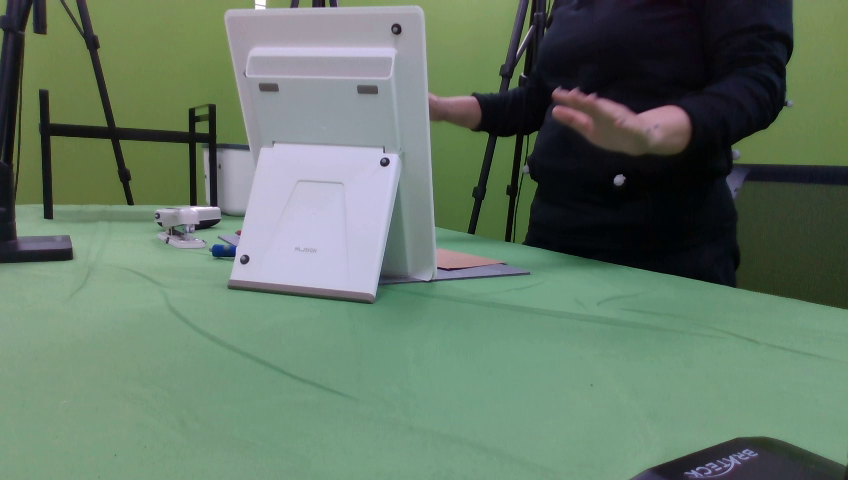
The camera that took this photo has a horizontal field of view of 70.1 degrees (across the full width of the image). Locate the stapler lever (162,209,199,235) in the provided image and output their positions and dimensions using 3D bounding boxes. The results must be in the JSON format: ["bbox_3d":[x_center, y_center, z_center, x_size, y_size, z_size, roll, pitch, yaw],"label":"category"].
[{"bbox_3d":[-0.376,-0.031,0.933,0.027,0.040,0.117,1,7,-38],"label":"stapler lever"}]

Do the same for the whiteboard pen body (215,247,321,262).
[{"bbox_3d":[-0.208,0.018,0.805,0.141,0.017,0.017,2,7,1],"label":"whiteboard pen body"}]

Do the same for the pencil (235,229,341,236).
[{"bbox_3d":[-0.232,-0.012,1.053,0.195,0.012,0.012,0,8,-36],"label":"pencil"}]

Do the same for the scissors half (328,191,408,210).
[{"bbox_3d":[-0.122,-0.092,1.318,0.175,0.040,0.013,5,12,-3],"label":"scissors half"}]

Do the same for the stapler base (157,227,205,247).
[{"bbox_3d":[-0.376,-0.007,0.935,0.041,0.024,0.130,1,5,-38],"label":"stapler base"}]

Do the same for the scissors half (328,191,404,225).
[{"bbox_3d":[-0.127,-0.072,1.321,0.175,0.040,0.013,22,5,-5],"label":"scissors half"}]

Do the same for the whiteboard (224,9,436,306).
[{"bbox_3d":[-0.117,-0.065,0.617,0.217,0.305,0.144,5,29,16],"label":"whiteboard"}]

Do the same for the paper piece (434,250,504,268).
[{"bbox_3d":[0.025,0.027,0.865,0.134,0.004,0.136,9,9,43],"label":"paper piece"}]

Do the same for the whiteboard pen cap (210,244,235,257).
[{"bbox_3d":[-0.266,0.015,0.806,0.033,0.018,0.018,3,7,-1],"label":"whiteboard pen cap"}]

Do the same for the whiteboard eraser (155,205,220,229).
[{"bbox_3d":[-0.428,-0.041,1.100,0.055,0.042,0.113,7,8,19],"label":"whiteboard eraser"}]

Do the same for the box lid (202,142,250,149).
[{"bbox_3d":[-0.344,-0.225,1.509,0.373,0.015,0.262,-2,8,-31],"label":"box lid"}]

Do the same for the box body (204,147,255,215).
[{"bbox_3d":[-0.347,-0.152,1.519,0.366,0.160,0.253,-2,9,-31],"label":"box body"}]

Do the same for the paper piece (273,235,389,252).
[{"bbox_3d":[-0.151,0.003,0.978,0.135,0.008,0.139,13,10,35],"label":"paper piece"}]
